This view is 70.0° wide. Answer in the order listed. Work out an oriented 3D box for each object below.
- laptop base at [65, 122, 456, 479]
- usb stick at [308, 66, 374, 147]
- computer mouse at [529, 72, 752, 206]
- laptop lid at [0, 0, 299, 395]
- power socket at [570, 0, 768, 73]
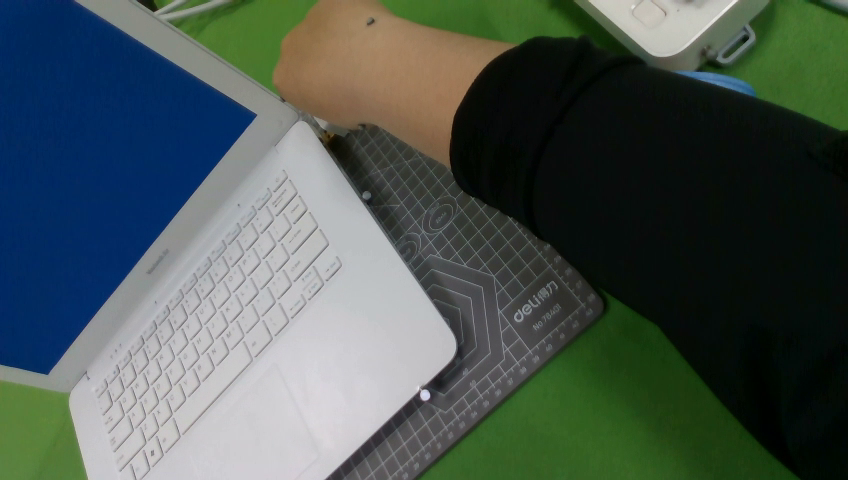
[{"bbox_3d":[-0.151,0.106,0.464,0.354,0.023,0.233,-46,60,15],"label":"laptop base"},{"bbox_3d":[-0.066,-0.097,0.450,0.059,0.027,0.021,-52,54,21],"label":"usb stick"},{"bbox_3d":[0.107,-0.055,0.322,0.116,0.041,0.062,11,86,40],"label":"computer mouse"},{"bbox_3d":[-0.287,-0.018,0.444,0.357,0.244,0.013,-47,44,16],"label":"laptop lid"},{"bbox_3d":[0.104,-0.181,0.360,0.072,0.033,0.224,-44,57,18],"label":"power socket"}]
